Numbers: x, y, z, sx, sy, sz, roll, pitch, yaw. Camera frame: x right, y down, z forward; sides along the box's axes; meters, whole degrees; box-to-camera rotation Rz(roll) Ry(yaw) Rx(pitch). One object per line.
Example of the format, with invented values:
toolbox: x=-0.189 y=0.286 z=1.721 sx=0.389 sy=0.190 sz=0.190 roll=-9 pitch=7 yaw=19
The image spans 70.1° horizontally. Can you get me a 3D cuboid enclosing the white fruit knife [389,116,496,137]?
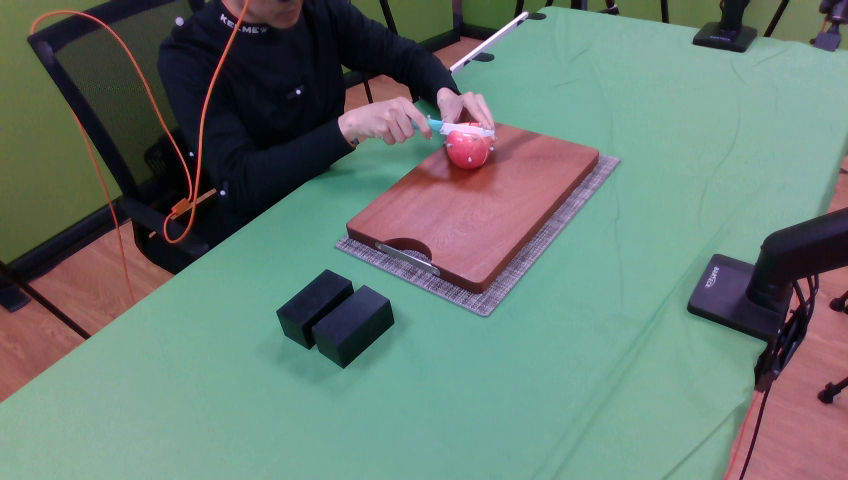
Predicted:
white fruit knife: x=0.029 y=-0.198 z=1.057 sx=0.206 sy=0.027 sz=0.016 roll=11 pitch=40 yaw=24

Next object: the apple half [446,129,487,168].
apple half: x=0.070 y=-0.152 z=1.050 sx=0.081 sy=0.081 sz=0.033 roll=13 pitch=44 yaw=22

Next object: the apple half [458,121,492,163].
apple half: x=0.087 y=-0.176 z=1.076 sx=0.080 sy=0.075 sz=0.053 roll=10 pitch=41 yaw=26
